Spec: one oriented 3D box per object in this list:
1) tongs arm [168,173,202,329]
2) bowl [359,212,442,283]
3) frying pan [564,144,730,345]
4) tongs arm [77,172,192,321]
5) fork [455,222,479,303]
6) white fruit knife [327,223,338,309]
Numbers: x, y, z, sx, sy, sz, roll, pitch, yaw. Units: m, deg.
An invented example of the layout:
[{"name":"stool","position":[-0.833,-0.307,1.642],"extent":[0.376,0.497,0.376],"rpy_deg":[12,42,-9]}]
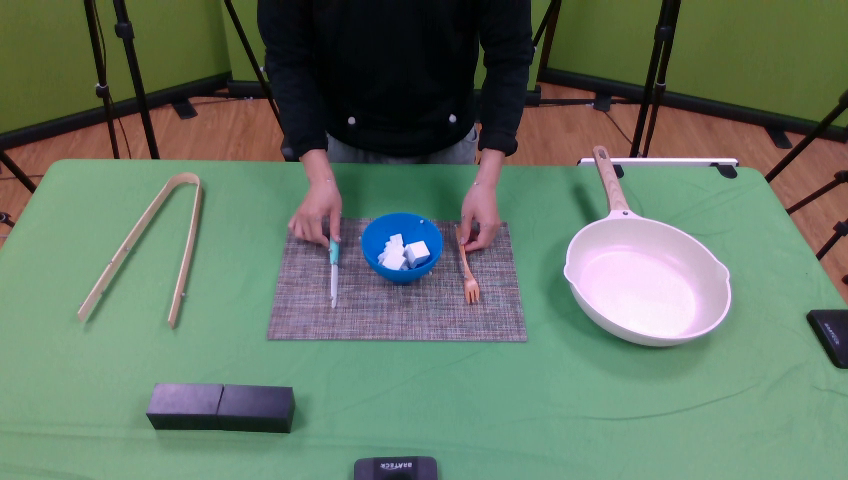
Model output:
[{"name":"tongs arm","position":[-0.454,0.005,1.153],"extent":[0.028,0.028,0.385],"rpy_deg":[-5,47,-6]},{"name":"bowl","position":[-0.044,0.026,1.124],"extent":[0.151,0.077,0.150],"rpy_deg":[2,46,-2]},{"name":"frying pan","position":[0.396,-0.008,1.179],"extent":[0.307,0.103,0.484],"rpy_deg":[0,55,-5]},{"name":"tongs arm","position":[-0.535,-0.002,1.147],"extent":[0.051,0.026,0.382],"rpy_deg":[7,45,1]},{"name":"fork","position":[0.078,0.039,1.157],"extent":[0.028,0.019,0.206],"rpy_deg":[-34,43,25]},{"name":"white fruit knife","position":[-0.170,0.043,1.134],"extent":[0.016,0.027,0.206],"rpy_deg":[-20,48,14]}]
